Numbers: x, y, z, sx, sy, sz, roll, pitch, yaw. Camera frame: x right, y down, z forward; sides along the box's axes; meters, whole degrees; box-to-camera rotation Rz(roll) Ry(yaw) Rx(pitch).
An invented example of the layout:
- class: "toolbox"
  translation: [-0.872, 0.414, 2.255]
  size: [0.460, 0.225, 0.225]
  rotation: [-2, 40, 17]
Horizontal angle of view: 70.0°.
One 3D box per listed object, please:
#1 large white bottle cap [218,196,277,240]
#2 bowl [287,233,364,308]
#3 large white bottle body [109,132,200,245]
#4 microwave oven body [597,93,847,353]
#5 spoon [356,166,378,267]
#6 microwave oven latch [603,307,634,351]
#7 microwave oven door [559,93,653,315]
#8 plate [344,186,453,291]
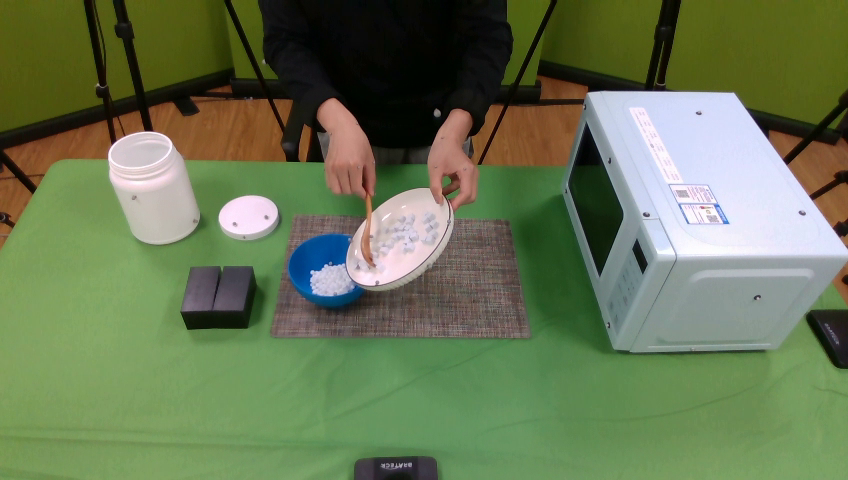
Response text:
- class: "large white bottle cap"
  translation: [-0.354, -0.045, 1.220]
  size: [0.115, 0.018, 0.114]
  rotation: [2, 45, -2]
- class: "bowl"
  translation: [-0.165, 0.068, 1.078]
  size: [0.151, 0.077, 0.150]
  rotation: [3, 45, -3]
- class: "large white bottle body"
  translation: [-0.506, -0.097, 1.141]
  size: [0.131, 0.185, 0.130]
  rotation: [2, 46, -2]
- class: "microwave oven body"
  translation: [0.475, -0.041, 1.109]
  size: [0.326, 0.261, 0.438]
  rotation: [-1, 45, -4]
- class: "spoon"
  translation: [-0.100, -0.043, 1.046]
  size: [0.042, 0.021, 0.193]
  rotation: [6, 68, -25]
- class: "microwave oven latch"
  translation: [0.332, 0.153, 1.044]
  size: [0.030, 0.029, 0.078]
  rotation: [0, 45, -3]
- class: "microwave oven door"
  translation: [0.327, -0.075, 1.123]
  size: [0.039, 0.245, 0.353]
  rotation: [-1, 46, -5]
- class: "plate"
  translation: [-0.039, 0.001, 1.003]
  size: [0.209, 0.038, 0.208]
  rotation: [-24, 41, 22]
